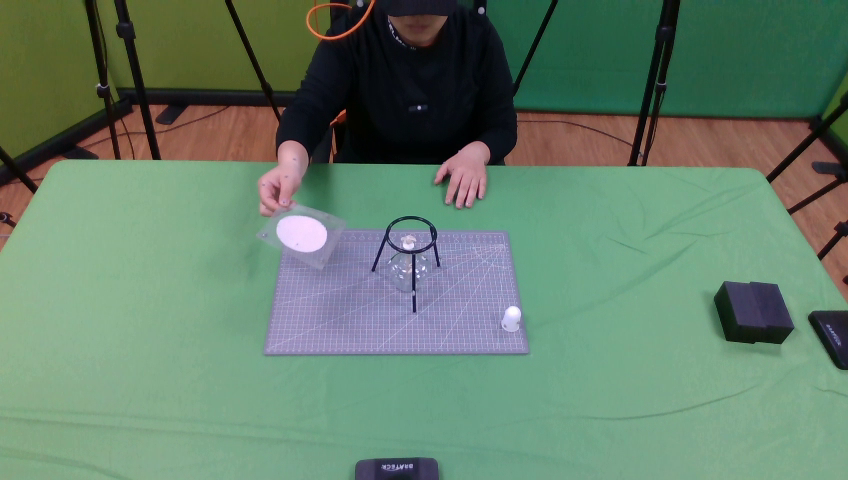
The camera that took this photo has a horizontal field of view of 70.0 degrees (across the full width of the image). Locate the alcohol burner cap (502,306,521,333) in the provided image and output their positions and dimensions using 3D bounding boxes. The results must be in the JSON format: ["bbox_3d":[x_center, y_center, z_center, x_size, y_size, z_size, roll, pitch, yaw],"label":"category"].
[{"bbox_3d":[0.155,0.137,1.061,0.034,0.048,0.033,1,45,-1],"label":"alcohol burner cap"}]

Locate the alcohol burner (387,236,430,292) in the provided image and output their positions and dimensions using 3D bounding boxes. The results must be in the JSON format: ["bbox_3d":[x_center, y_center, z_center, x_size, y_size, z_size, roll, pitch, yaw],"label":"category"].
[{"bbox_3d":[-0.028,0.038,1.093,0.078,0.120,0.077,1,46,-1],"label":"alcohol burner"}]

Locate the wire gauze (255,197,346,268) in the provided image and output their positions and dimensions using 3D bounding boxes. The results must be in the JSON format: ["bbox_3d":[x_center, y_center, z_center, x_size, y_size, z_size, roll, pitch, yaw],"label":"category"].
[{"bbox_3d":[-0.209,-0.018,1.036,0.125,0.011,0.121,24,42,-1],"label":"wire gauze"}]

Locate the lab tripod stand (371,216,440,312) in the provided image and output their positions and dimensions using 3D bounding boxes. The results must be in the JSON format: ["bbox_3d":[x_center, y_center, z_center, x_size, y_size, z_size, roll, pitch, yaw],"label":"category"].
[{"bbox_3d":[-0.029,0.033,1.084,0.148,0.132,0.147,1,47,-1],"label":"lab tripod stand"}]
